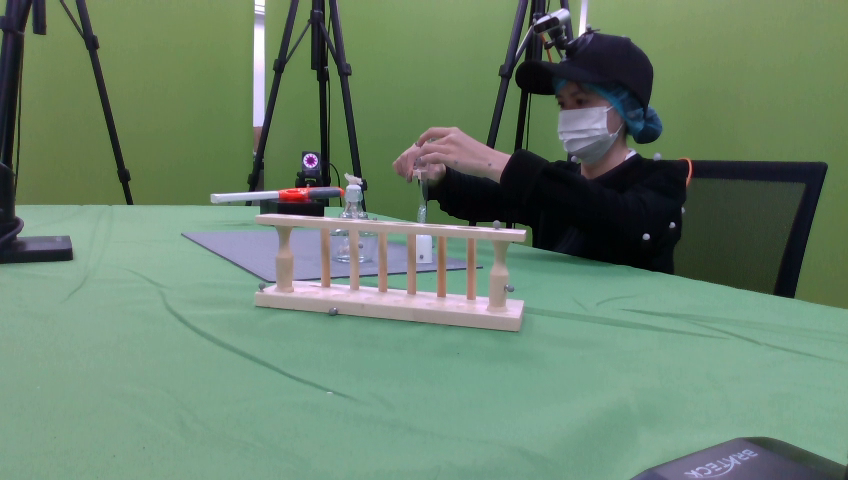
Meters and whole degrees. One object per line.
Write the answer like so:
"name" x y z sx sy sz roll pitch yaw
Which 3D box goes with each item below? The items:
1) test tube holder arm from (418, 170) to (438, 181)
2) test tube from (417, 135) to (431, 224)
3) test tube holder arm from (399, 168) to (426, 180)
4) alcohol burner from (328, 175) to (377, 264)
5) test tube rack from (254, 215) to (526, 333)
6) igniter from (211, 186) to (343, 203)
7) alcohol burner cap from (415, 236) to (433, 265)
"test tube holder arm" -0.002 -0.112 1.044 0.010 0.015 0.087 2 9 -32
"test tube" -0.001 -0.101 1.022 0.017 0.150 0.017 4 8 0
"test tube holder arm" -0.023 -0.120 1.083 0.013 0.015 0.178 6 8 -16
"alcohol burner" -0.098 -0.028 0.819 0.078 0.119 0.078 1 8 0
"test tube rack" -0.030 0.025 0.557 0.242 0.085 0.067 4 7 12
"igniter" -0.300 -0.095 1.266 0.278 0.025 0.057 -6 12 -34
"alcohol burner cap" -0.004 0.011 0.835 0.034 0.048 0.034 2 7 0
